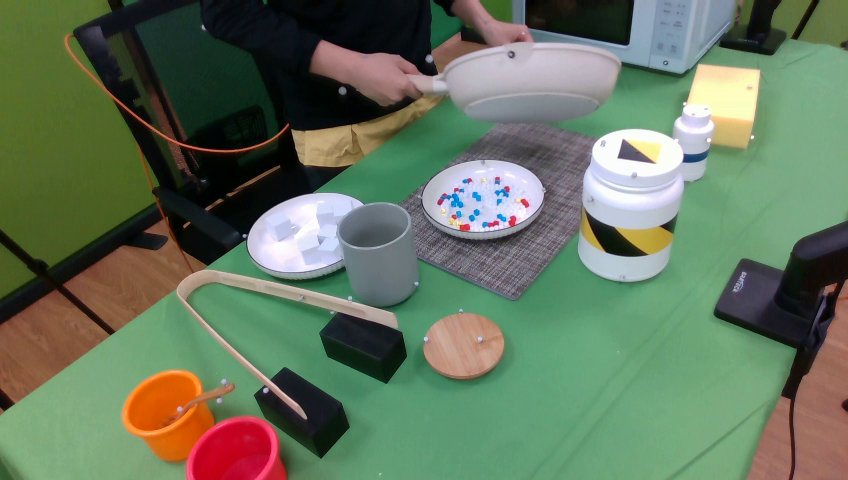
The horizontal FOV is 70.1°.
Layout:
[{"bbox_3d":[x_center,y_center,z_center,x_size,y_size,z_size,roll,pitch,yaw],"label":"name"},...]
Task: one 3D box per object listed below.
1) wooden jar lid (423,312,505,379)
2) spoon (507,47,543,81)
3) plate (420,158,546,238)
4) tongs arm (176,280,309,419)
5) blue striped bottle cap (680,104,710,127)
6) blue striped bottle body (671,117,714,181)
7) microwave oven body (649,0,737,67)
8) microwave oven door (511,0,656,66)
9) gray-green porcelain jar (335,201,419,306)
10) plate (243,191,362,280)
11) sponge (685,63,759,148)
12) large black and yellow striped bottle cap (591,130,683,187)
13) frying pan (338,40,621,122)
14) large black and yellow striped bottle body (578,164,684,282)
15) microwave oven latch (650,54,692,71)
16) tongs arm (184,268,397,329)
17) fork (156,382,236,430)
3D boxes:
[{"bbox_3d":[0.053,0.142,0.800,0.108,0.021,0.108,-5,39,4],"label":"wooden jar lid"},{"bbox_3d":[0.212,-0.379,1.280,0.021,0.042,0.192,-24,34,5],"label":"spoon"},{"bbox_3d":[0.099,-0.067,1.017,0.209,0.038,0.208,-4,40,4],"label":"plate"},{"bbox_3d":[-0.254,0.133,0.801,0.028,0.028,0.384,-41,41,-23],"label":"tongs arm"},{"bbox_3d":[0.443,-0.205,0.989,0.044,0.021,0.044,-1,41,2],"label":"blue striped bottle cap"},{"bbox_3d":[0.450,-0.165,1.022,0.063,0.121,0.063,-5,41,5],"label":"blue striped bottle body"},{"bbox_3d":[0.475,-0.602,1.411,0.438,0.261,0.327,23,50,32],"label":"microwave oven body"},{"bbox_3d":[0.351,-0.540,1.349,0.353,0.245,0.039,24,50,31],"label":"microwave oven door"},{"bbox_3d":[-0.064,0.024,0.872,0.106,0.127,0.105,-4,41,4],"label":"gray-green porcelain jar"},{"bbox_3d":[-0.187,-0.005,0.992,0.207,0.039,0.206,-4,41,4],"label":"plate"},{"bbox_3d":[0.569,-0.263,1.164,0.117,0.061,0.207,13,45,22],"label":"sponge"},{"bbox_3d":[0.282,-0.111,0.803,0.115,0.019,0.114,-3,41,3],"label":"large black and yellow striped bottle cap"},{"bbox_3d":[0.078,-0.270,1.039,0.486,0.102,0.308,9,2,17],"label":"frying pan"},{"bbox_3d":[0.292,-0.046,0.859,0.131,0.185,0.130,-4,41,4],"label":"large black and yellow striped bottle body"},{"bbox_3d":[0.531,-0.386,1.301,0.078,0.029,0.030,24,50,32],"label":"microwave oven latch"},{"bbox_3d":[-0.202,0.084,0.848,0.382,0.027,0.051,11,45,35],"label":"tongs arm"},{"bbox_3d":[-0.262,0.189,0.690,0.018,0.206,0.028,49,43,-7],"label":"fork"}]
